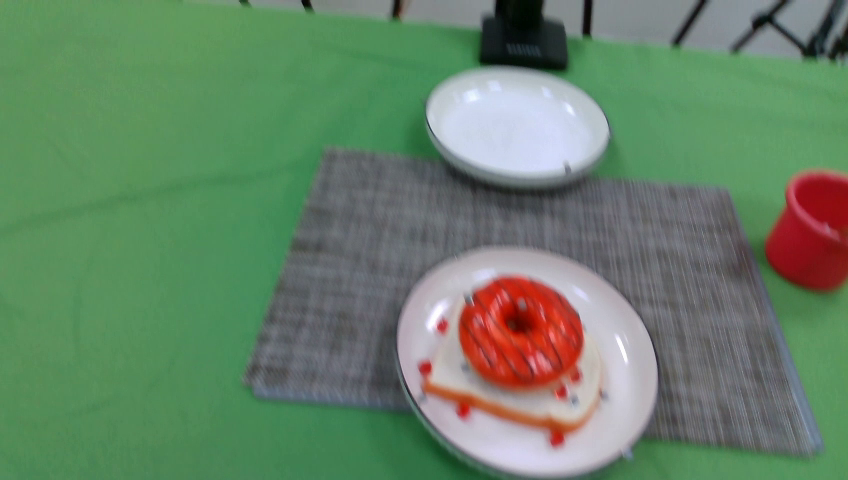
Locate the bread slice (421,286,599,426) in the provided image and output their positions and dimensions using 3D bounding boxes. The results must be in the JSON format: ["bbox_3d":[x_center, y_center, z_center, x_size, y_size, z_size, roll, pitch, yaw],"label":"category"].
[{"bbox_3d":[0.076,0.092,0.492,0.131,0.019,0.104,15,48,11],"label":"bread slice"}]

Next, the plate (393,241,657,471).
[{"bbox_3d":[0.078,0.088,0.492,0.209,0.038,0.207,2,47,-2],"label":"plate"}]

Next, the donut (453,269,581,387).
[{"bbox_3d":[0.070,0.067,0.464,0.099,0.048,0.098,2,48,-1],"label":"donut"}]

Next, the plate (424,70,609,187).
[{"bbox_3d":[0.103,-0.125,0.693,0.208,0.039,0.205,3,45,-2],"label":"plate"}]

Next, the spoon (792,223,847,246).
[{"bbox_3d":[0.368,-0.006,0.532,0.041,0.021,0.194,22,6,15],"label":"spoon"}]
